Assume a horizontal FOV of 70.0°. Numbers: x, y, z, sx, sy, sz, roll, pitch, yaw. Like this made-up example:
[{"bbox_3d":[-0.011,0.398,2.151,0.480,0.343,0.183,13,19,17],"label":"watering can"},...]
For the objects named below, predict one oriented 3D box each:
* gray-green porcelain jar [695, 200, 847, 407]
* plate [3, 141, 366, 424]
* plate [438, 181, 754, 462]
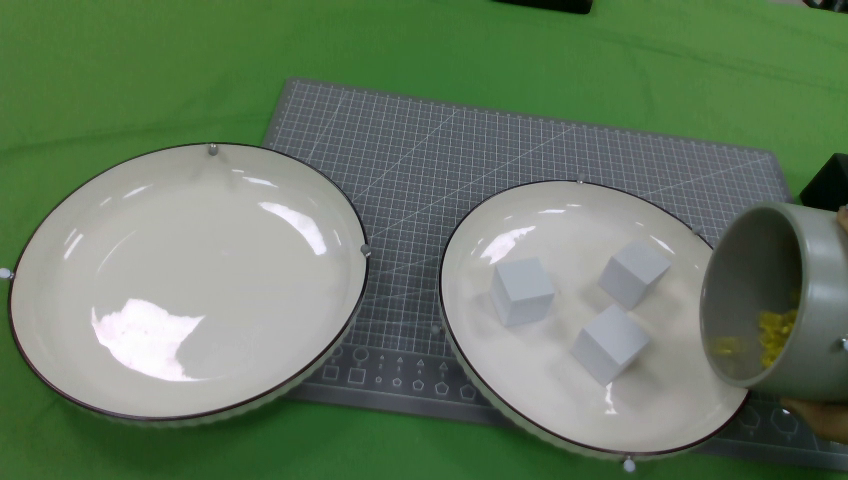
[{"bbox_3d":[0.238,0.040,0.339,0.126,0.106,0.105,11,51,-1],"label":"gray-green porcelain jar"},{"bbox_3d":[-0.141,0.020,0.383,0.209,0.038,0.207,4,51,-4],"label":"plate"},{"bbox_3d":[0.111,0.047,0.402,0.208,0.039,0.205,5,51,-5],"label":"plate"}]
